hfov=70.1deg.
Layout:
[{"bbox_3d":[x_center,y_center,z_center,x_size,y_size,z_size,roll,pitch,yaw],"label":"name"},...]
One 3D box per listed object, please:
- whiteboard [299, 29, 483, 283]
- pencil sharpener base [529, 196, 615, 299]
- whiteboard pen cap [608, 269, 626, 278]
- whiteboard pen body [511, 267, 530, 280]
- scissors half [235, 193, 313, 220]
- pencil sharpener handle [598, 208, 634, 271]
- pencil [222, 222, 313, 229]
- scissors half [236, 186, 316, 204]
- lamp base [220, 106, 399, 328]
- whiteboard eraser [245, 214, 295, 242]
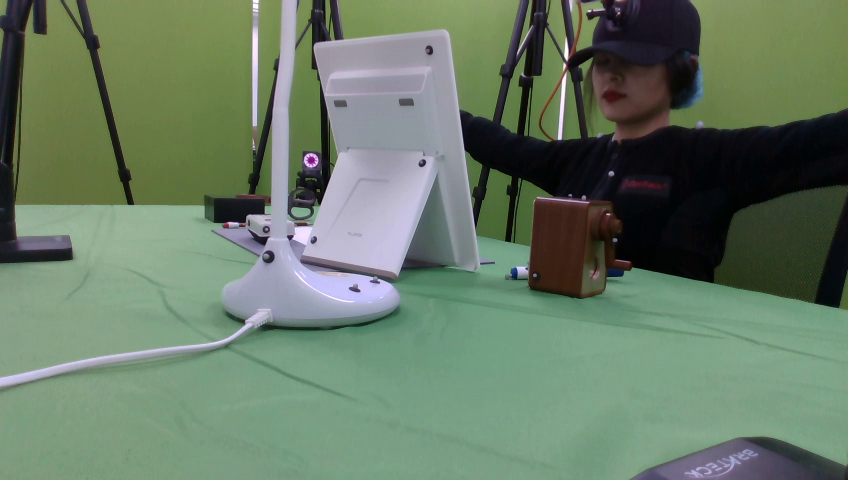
[{"bbox_3d":[-0.074,-0.082,0.742,0.216,0.305,0.144,9,29,37],"label":"whiteboard"},{"bbox_3d":[0.167,0.007,0.678,0.076,0.107,0.062,10,10,42],"label":"pencil sharpener base"},{"bbox_3d":[0.237,0.039,0.766,0.033,0.018,0.018,-2,8,-8],"label":"whiteboard pen cap"},{"bbox_3d":[0.178,0.041,0.758,0.141,0.017,0.017,0,8,-8],"label":"whiteboard pen body"},{"bbox_3d":[-0.325,-0.077,1.320,0.176,0.040,0.012,17,8,-32],"label":"scissors half"},{"bbox_3d":[0.208,0.000,0.645,0.030,0.068,0.036,10,22,42],"label":"pencil sharpener handle"},{"bbox_3d":[-0.302,-0.030,1.189,0.195,0.012,0.012,-2,9,-42],"label":"pencil"},{"bbox_3d":[-0.320,-0.097,1.316,0.176,0.040,0.013,-3,14,-29],"label":"scissors half"},{"bbox_3d":[-0.102,-0.023,0.531,0.160,0.180,0.179,4,10,10],"label":"lamp base"},{"bbox_3d":[-0.247,-0.018,0.965,0.056,0.042,0.112,0,8,-28],"label":"whiteboard eraser"}]
